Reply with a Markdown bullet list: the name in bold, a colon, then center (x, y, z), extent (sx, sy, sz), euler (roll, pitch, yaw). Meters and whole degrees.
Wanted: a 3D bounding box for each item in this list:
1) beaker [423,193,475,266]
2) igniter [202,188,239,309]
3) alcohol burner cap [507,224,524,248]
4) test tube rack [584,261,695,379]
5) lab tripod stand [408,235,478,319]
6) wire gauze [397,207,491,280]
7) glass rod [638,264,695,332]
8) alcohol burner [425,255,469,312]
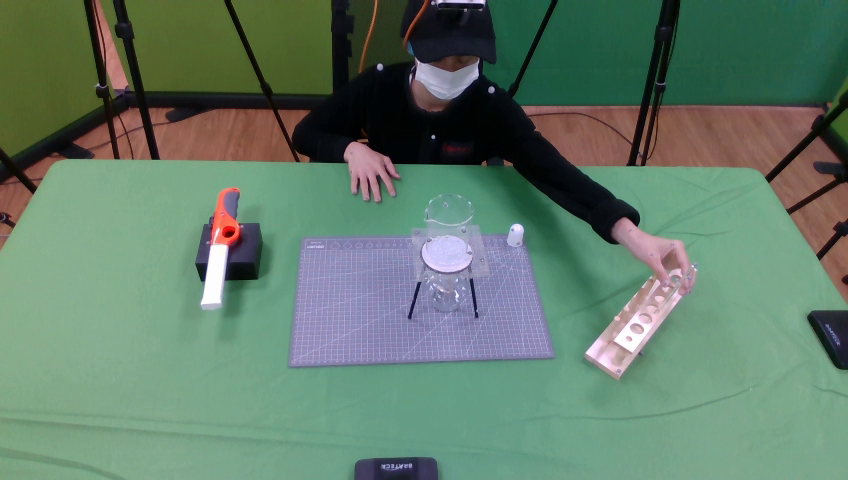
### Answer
- **beaker**: center (0.036, -0.013, 0.973), extent (0.084, 0.101, 0.073), euler (-18, 48, -20)
- **igniter**: center (-0.366, 0.006, 1.095), extent (0.057, 0.025, 0.274), euler (-2, 49, -7)
- **alcohol burner cap**: center (0.183, -0.010, 1.206), extent (0.034, 0.048, 0.033), euler (1, 45, 0)
- **test tube rack**: center (0.380, 0.127, 1.062), extent (0.066, 0.085, 0.242), euler (34, 53, 26)
- **lab tripod stand**: center (0.032, 0.065, 1.057), extent (0.148, 0.132, 0.147), euler (1, 45, -1)
- **wire gauze**: center (0.032, 0.006, 1.001), extent (0.125, 0.011, 0.120), euler (-20, 52, -16)
- **glass rod**: center (0.396, 0.100, 0.997), extent (0.008, 0.200, 0.008), euler (5, 51, -6)
- **alcohol burner**: center (0.041, 0.072, 1.065), extent (0.078, 0.120, 0.077), euler (1, 46, -1)
